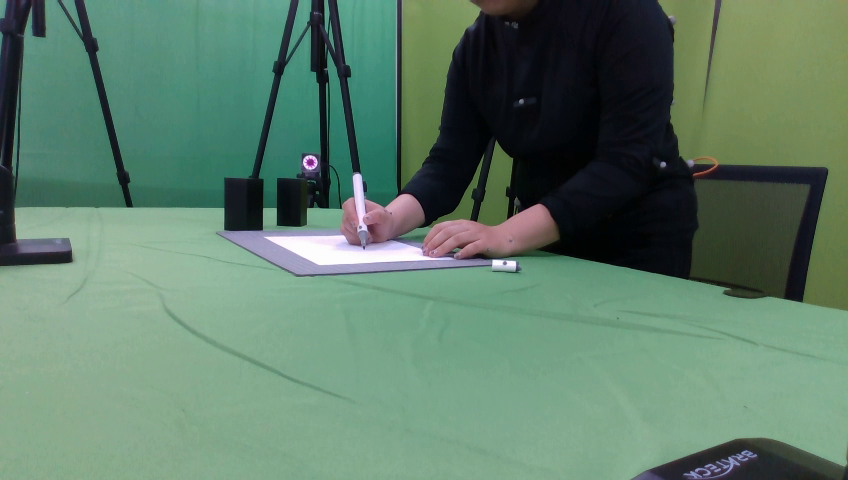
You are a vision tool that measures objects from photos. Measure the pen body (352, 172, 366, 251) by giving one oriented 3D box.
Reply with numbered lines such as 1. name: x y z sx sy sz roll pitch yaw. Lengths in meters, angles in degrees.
1. pen body: -0.105 -0.045 0.977 0.017 0.143 0.017 -6 -27 -3

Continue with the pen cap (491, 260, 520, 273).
1. pen cap: 0.110 0.036 0.813 0.038 0.017 0.017 3 7 7
